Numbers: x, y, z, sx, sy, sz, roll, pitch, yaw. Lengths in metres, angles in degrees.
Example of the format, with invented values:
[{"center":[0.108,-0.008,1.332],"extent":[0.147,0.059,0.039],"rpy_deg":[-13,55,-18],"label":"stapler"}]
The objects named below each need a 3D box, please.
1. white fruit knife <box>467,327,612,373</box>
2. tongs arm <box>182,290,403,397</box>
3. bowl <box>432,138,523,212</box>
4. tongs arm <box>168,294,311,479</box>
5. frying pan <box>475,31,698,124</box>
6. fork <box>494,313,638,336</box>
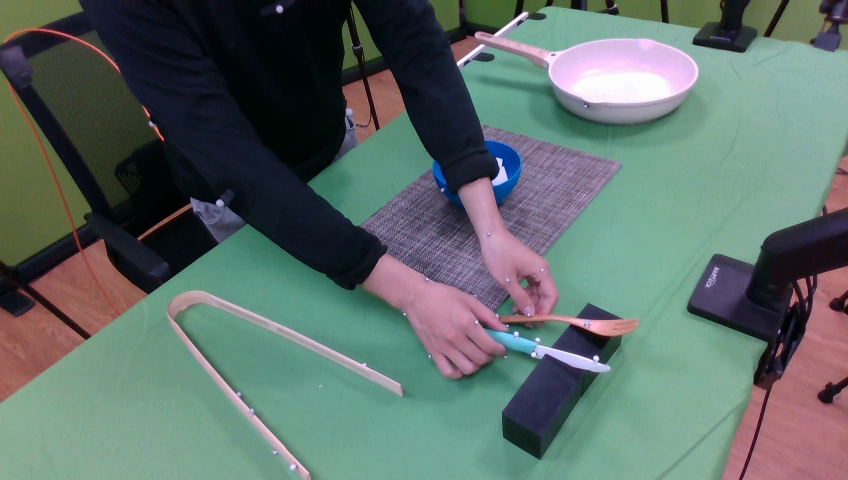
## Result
[{"center":[0.134,0.134,0.742],"extent":[0.205,0.027,0.016],"rpy_deg":[7,35,41],"label":"white fruit knife"},{"center":[-0.192,0.136,0.834],"extent":[0.385,0.028,0.028],"rpy_deg":[18,48,26],"label":"tongs arm"},{"center":[0.091,-0.100,1.021],"extent":[0.151,0.077,0.150],"rpy_deg":[-4,41,4],"label":"bowl"},{"center":[-0.245,0.177,0.787],"extent":[0.381,0.026,0.051],"rpy_deg":[29,51,36],"label":"tongs arm"},{"center":[0.320,-0.371,1.290],"extent":[0.485,0.103,0.307],"rpy_deg":[28,50,23],"label":"frying pan"},{"center":[0.174,0.103,0.772],"extent":[0.206,0.019,0.028],"rpy_deg":[-1,59,40],"label":"fork"}]
